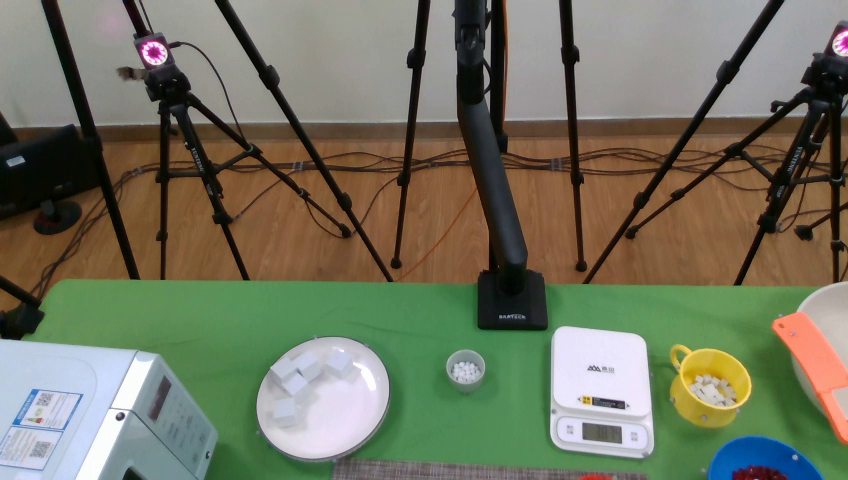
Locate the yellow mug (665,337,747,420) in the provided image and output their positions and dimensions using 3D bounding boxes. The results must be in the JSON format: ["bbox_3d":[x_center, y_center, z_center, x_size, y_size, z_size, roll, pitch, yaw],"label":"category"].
[{"bbox_3d":[0.416,0.201,0.922,0.100,0.064,0.129,-25,51,-15],"label":"yellow mug"}]

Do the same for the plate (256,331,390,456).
[{"bbox_3d":[-0.156,0.240,0.950,0.207,0.039,0.205,-2,50,2],"label":"plate"}]

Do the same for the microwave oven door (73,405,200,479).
[{"bbox_3d":[-0.365,0.397,0.672,0.039,0.246,0.352,3,50,7],"label":"microwave oven door"}]

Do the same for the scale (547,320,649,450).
[{"bbox_3d":[0.268,0.219,0.941,0.148,0.032,0.199,4,51,8],"label":"scale"}]

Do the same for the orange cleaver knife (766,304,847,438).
[{"bbox_3d":[0.572,0.181,0.877,0.077,0.012,0.209,-5,50,-4],"label":"orange cleaver knife"}]

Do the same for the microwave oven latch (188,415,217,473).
[{"bbox_3d":[-0.331,0.297,0.889,0.030,0.030,0.078,5,51,8],"label":"microwave oven latch"}]

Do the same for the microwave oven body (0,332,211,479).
[{"bbox_3d":[-0.504,0.361,0.720,0.326,0.262,0.437,3,51,6],"label":"microwave oven body"}]

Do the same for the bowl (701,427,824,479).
[{"bbox_3d":[0.437,0.334,0.801,0.151,0.077,0.150,-2,51,3],"label":"bowl"}]

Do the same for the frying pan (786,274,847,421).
[{"bbox_3d":[0.732,0.245,0.837,0.307,0.104,0.482,-20,43,-11],"label":"frying pan"}]

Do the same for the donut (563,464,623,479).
[{"bbox_3d":[0.232,0.353,0.817,0.099,0.049,0.098,-4,50,5],"label":"donut"}]

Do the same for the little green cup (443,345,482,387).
[{"bbox_3d":[0.062,0.202,0.966,0.061,0.039,0.061,-2,49,3],"label":"little green cup"}]
